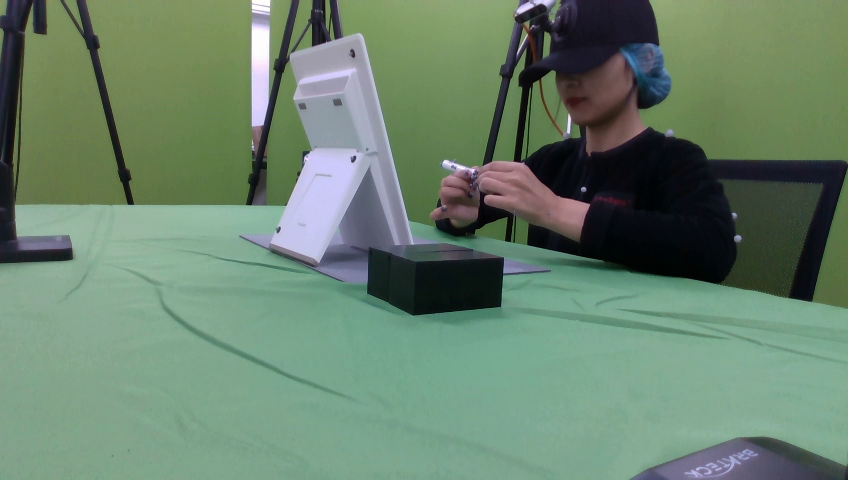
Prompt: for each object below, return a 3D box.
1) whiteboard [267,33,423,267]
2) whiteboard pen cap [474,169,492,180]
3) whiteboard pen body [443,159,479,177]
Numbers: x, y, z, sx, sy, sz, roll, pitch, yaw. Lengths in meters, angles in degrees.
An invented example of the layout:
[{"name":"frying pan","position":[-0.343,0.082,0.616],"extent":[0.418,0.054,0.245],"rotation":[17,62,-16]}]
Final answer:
[{"name":"whiteboard","position":[-0.153,-0.098,0.819],"extent":[0.144,0.305,0.216],"rotation":[-25,21,-29]},{"name":"whiteboard pen cap","position":[0.094,-0.106,0.975],"extent":[0.018,0.018,0.033],"rotation":[-1,10,-26]},{"name":"whiteboard pen body","position":[0.068,-0.122,1.028],"extent":[0.017,0.017,0.140],"rotation":[-1,15,-26]}]
